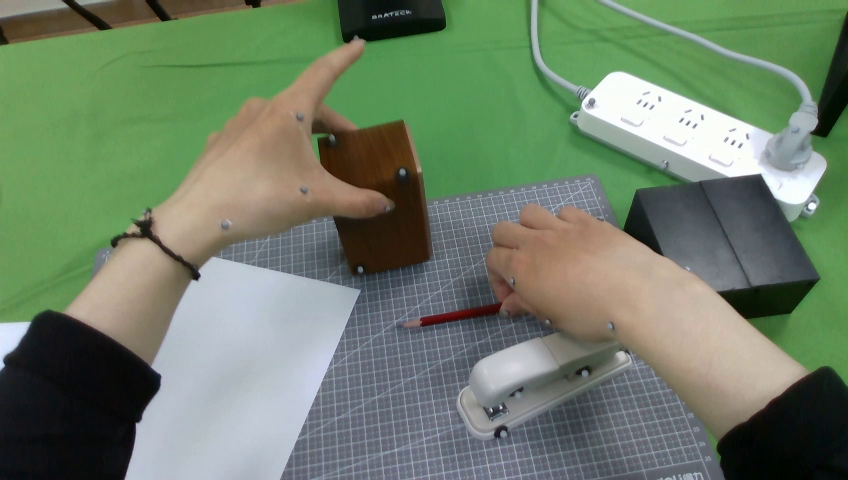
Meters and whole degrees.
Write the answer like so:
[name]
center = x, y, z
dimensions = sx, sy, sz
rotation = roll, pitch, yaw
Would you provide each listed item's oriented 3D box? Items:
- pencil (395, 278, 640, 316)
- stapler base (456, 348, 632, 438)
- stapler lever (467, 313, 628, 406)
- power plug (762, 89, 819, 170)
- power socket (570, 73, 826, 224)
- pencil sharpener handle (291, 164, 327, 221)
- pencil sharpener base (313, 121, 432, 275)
[pencil]
center = 0.073, 0.045, 0.469
dimensions = 0.194, 0.012, 0.012
rotation = -7, 54, -5
[stapler base]
center = 0.085, 0.095, 0.430
dimensions = 0.131, 0.024, 0.041
rotation = -22, 56, -13
[stapler lever]
center = 0.085, 0.079, 0.411
dimensions = 0.118, 0.040, 0.026
rotation = -22, 56, -13
[power plug]
center = 0.318, -0.085, 0.513
dimensions = 0.072, 0.053, 0.035
rotation = -36, 59, -19
[power socket]
center = 0.244, -0.088, 0.549
dimensions = 0.225, 0.033, 0.072
rotation = 32, 62, 25
[pencil sharpener handle]
center = -0.091, -0.031, 0.462
dimensions = 0.031, 0.068, 0.036
rotation = -12, 74, -3
[pencil sharpener base]
center = -0.039, -0.029, 0.473
dimensions = 0.077, 0.108, 0.060
rotation = -12, 52, -3
